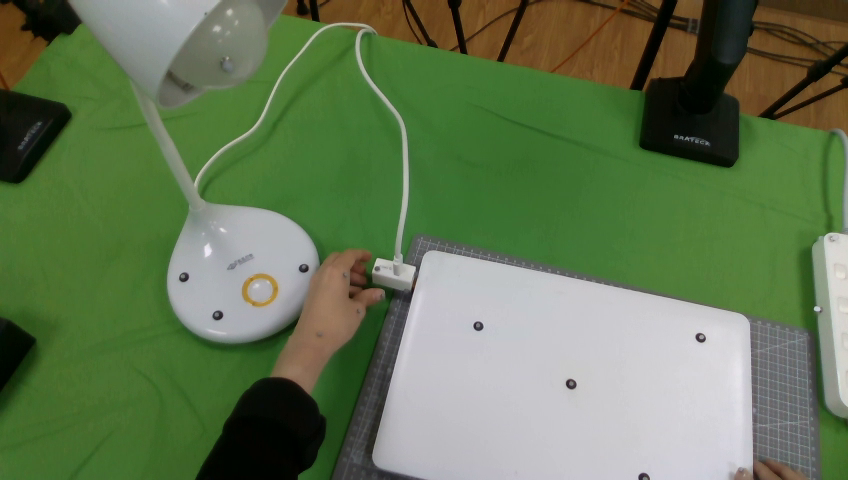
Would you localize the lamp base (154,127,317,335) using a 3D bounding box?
[{"bbox_3d":[-0.206,-0.017,0.596,0.178,0.182,0.160,39,66,21],"label":"lamp base"}]

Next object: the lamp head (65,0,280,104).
[{"bbox_3d":[-0.150,-0.151,0.326,0.123,0.112,0.112,41,65,-7],"label":"lamp head"}]

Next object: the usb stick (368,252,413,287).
[{"bbox_3d":[-0.029,0.033,0.653,0.059,0.027,0.021,16,58,2],"label":"usb stick"}]

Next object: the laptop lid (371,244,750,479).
[{"bbox_3d":[0.143,0.138,0.601,0.356,0.013,0.240,13,64,5],"label":"laptop lid"}]

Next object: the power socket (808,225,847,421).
[{"bbox_3d":[0.460,0.082,0.648,0.072,0.033,0.225,13,61,4],"label":"power socket"}]

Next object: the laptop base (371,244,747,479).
[{"bbox_3d":[0.144,0.141,0.613,0.354,0.023,0.234,11,65,4],"label":"laptop base"}]
